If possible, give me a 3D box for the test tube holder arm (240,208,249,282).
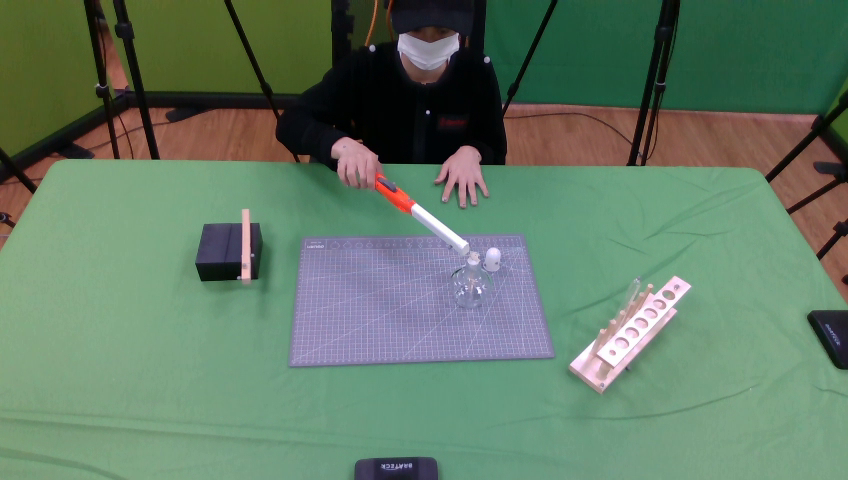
[{"bbox_3d":[-0.323,0.006,1.096,0.015,0.013,0.177,-1,48,-15],"label":"test tube holder arm"}]

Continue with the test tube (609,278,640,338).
[{"bbox_3d":[0.331,0.115,1.007,0.017,0.151,0.017,2,45,-2],"label":"test tube"}]

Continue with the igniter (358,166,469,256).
[{"bbox_3d":[-0.026,-0.059,1.087,0.275,0.057,0.025,38,68,26],"label":"igniter"}]

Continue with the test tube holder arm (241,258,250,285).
[{"bbox_3d":[-0.316,0.042,1.071,0.015,0.010,0.087,-1,48,-15],"label":"test tube holder arm"}]

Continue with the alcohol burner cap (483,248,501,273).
[{"bbox_3d":[0.130,0.037,1.156,0.034,0.048,0.033,1,46,-1],"label":"alcohol burner cap"}]

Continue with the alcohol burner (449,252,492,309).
[{"bbox_3d":[0.084,0.066,1.074,0.078,0.120,0.077,1,44,-1],"label":"alcohol burner"}]

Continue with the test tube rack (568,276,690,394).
[{"bbox_3d":[0.353,0.149,1.039,0.242,0.085,0.066,-34,56,-31],"label":"test tube rack"}]
